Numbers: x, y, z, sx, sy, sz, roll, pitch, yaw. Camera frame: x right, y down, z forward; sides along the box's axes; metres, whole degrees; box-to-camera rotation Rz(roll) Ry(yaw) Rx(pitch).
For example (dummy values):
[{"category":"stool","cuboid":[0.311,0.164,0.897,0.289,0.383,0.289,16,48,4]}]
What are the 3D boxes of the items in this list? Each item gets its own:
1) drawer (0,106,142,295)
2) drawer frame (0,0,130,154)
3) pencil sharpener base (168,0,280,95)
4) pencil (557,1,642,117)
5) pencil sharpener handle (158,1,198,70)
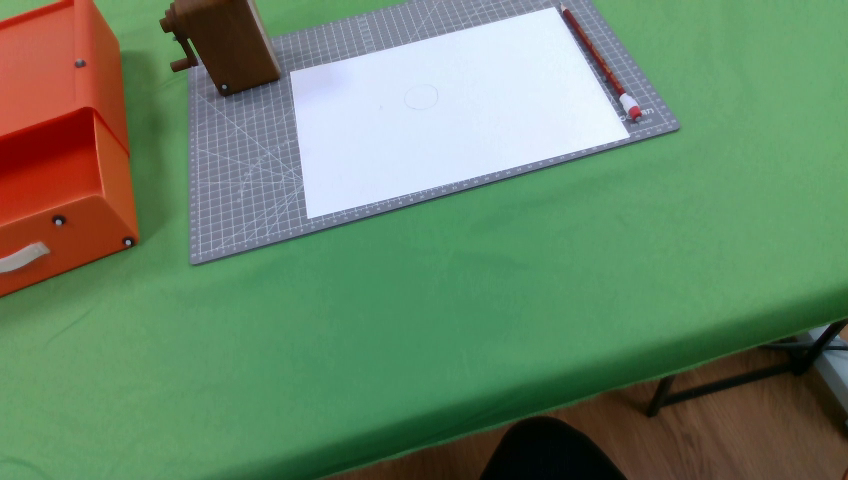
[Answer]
[{"category":"drawer","cuboid":[-0.382,-0.056,0.567,0.194,0.074,0.209,-23,54,-6]},{"category":"drawer frame","cuboid":[-0.426,-0.143,0.632,0.202,0.083,0.211,-22,54,-5]},{"category":"pencil sharpener base","cuboid":[-0.205,-0.215,0.626,0.077,0.108,0.060,-21,55,-4]},{"category":"pencil","cuboid":[0.169,-0.187,0.602,0.012,0.012,0.192,-16,53,-2]},{"category":"pencil sharpener handle","cuboid":[-0.254,-0.203,0.611,0.030,0.068,0.035,-21,51,-4]}]
